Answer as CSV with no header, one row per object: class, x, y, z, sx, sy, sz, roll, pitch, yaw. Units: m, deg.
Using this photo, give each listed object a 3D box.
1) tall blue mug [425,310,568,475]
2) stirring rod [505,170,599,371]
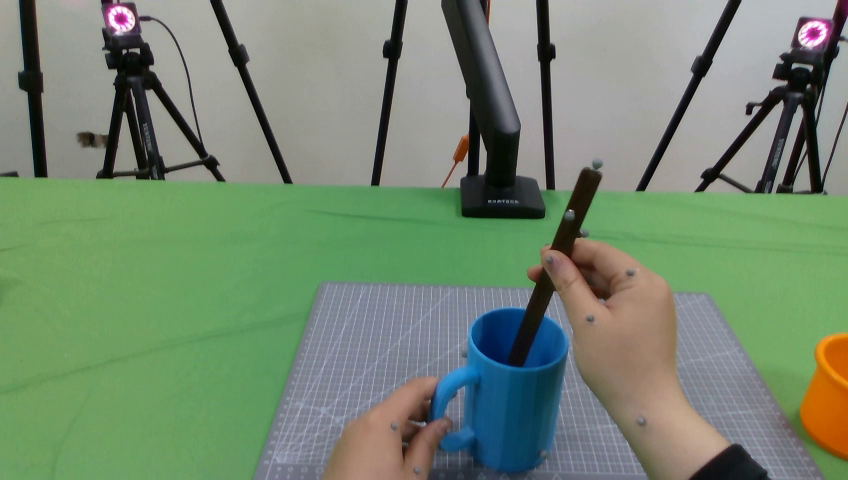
tall blue mug,0.060,0.128,0.474,0.077,0.109,0.107,20,35,28
stirring rod,0.085,0.029,0.418,0.014,0.177,0.006,19,36,9
